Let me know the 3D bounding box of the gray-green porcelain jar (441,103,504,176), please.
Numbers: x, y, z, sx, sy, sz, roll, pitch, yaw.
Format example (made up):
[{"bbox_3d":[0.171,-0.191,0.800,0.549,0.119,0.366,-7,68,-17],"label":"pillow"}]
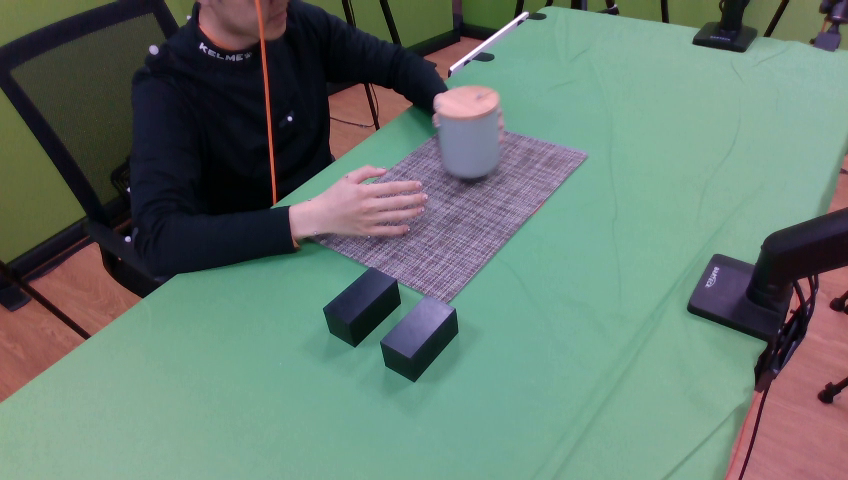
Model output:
[{"bbox_3d":[0.086,-0.185,1.056,0.106,0.127,0.105,-4,40,4],"label":"gray-green porcelain jar"}]

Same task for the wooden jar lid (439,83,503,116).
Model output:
[{"bbox_3d":[0.080,-0.232,1.017,0.108,0.021,0.108,-6,40,6],"label":"wooden jar lid"}]
